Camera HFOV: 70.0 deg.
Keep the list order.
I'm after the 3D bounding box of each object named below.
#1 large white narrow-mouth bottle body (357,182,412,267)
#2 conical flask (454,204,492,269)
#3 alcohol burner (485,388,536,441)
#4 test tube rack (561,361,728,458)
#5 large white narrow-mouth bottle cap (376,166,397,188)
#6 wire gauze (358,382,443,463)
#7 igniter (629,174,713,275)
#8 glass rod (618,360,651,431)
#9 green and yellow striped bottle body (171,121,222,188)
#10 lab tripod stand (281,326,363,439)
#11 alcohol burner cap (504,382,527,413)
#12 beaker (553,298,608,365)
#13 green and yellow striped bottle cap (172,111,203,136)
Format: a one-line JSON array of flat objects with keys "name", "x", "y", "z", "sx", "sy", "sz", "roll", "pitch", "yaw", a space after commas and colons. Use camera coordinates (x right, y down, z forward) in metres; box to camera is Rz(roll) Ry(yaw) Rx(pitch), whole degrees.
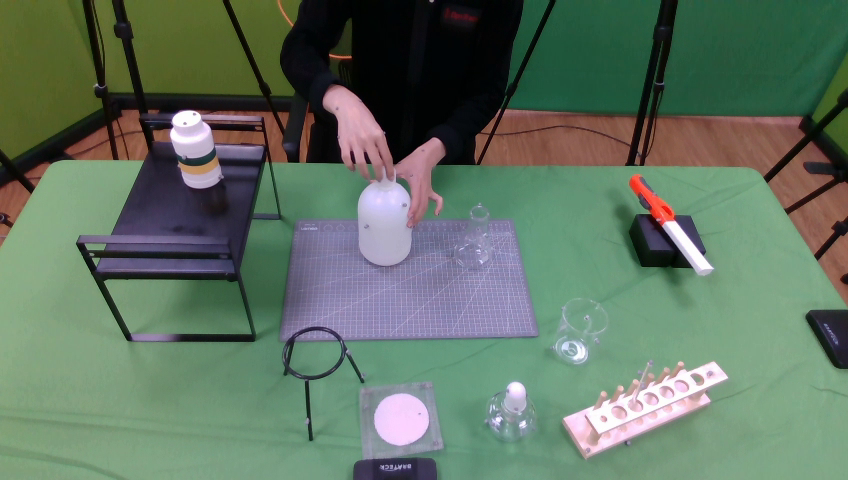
[{"name": "large white narrow-mouth bottle body", "x": -0.073, "y": -0.046, "z": 1.115, "sx": 0.102, "sy": 0.195, "sz": 0.101, "roll": 3, "pitch": 46, "yaw": -3}, {"name": "conical flask", "x": 0.097, "y": -0.009, "z": 1.140, "sx": 0.075, "sy": 0.122, "sz": 0.075, "roll": 2, "pitch": 46, "yaw": -2}, {"name": "alcohol burner", "x": 0.131, "y": 0.249, "z": 0.904, "sx": 0.078, "sy": 0.120, "sz": 0.077, "roll": 1, "pitch": 48, "yaw": -1}, {"name": "test tube rack", "x": 0.341, "y": 0.248, "z": 0.940, "sx": 0.243, "sy": 0.085, "sz": 0.066, "roll": -15, "pitch": 49, "yaw": -18}, {"name": "large white narrow-mouth bottle cap", "x": -0.064, "y": -0.110, "z": 1.048, "sx": 0.038, "sy": 0.024, "sz": 0.037, "roll": 4, "pitch": 46, "yaw": -4}, {"name": "wire gauze", "x": -0.039, "y": 0.277, "z": 0.937, "sx": 0.121, "sy": 0.011, "sz": 0.124, "roll": -4, "pitch": 47, "yaw": -7}, {"name": "igniter", "x": 0.482, "y": -0.040, "z": 1.202, "sx": 0.057, "sy": 0.025, "sz": 0.274, "roll": -2, "pitch": 46, "yaw": -21}, {"name": "glass rod", "x": 0.298, "y": 0.227, "z": 0.865, "sx": 0.008, "sy": 0.201, "sz": 0.008, "roll": -1, "pitch": 47, "yaw": 2}, {"name": "green and yellow striped bottle body", "x": -0.375, "y": -0.149, "z": 0.995, "sx": 0.063, "sy": 0.120, "sz": 0.063, "roll": 2, "pitch": 46, "yaw": -2}, {"name": "lab tripod stand", "x": -0.166, "y": 0.202, "z": 0.913, "sx": 0.148, "sy": 0.132, "sz": 0.147, "roll": 1, "pitch": 47, "yaw": -1}, {"name": "alcohol burner cap", "x": 0.133, "y": 0.225, "z": 0.877, "sx": 0.034, "sy": 0.048, "sz": 0.033, "roll": -4, "pitch": 47, "yaw": 5}, {"name": "beaker", "x": 0.260, "y": 0.154, "z": 1.015, "sx": 0.073, "sy": 0.101, "sz": 0.084, "roll": 37, "pitch": 54, "yaw": 27}, {"name": "green and yellow striped bottle cap", "x": -0.374, "y": -0.185, "z": 0.957, "sx": 0.045, "sy": 0.020, "sz": 0.045, "roll": 3, "pitch": 45, "yaw": -3}]
